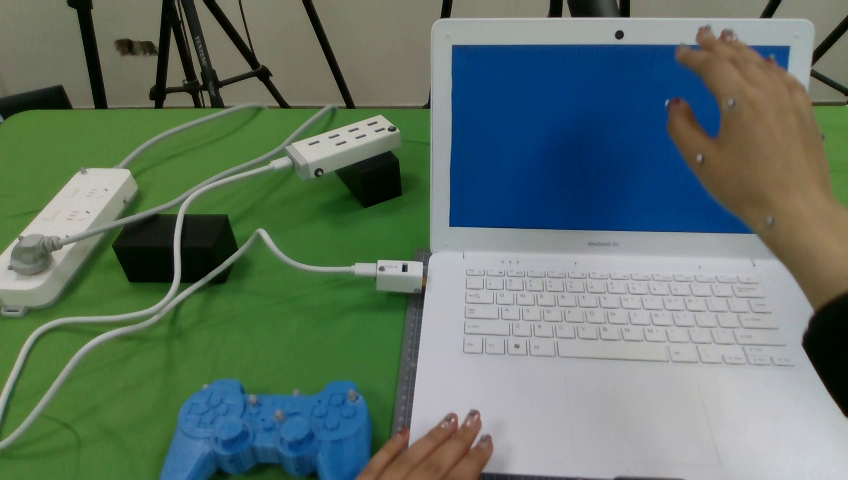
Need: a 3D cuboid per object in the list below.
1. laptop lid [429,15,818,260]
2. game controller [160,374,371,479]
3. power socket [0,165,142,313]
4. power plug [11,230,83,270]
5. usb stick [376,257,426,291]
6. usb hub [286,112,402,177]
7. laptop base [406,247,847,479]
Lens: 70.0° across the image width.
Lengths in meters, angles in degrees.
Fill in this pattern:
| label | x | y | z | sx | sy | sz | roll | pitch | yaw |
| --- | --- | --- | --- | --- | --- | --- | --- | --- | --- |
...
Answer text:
| label | x | y | z | sx | sy | sz | roll | pitch | yaw |
| --- | --- | --- | --- | --- | --- | --- | --- | --- | --- |
| laptop lid | 0.181 | -0.093 | 0.585 | 0.356 | 0.242 | 0.013 | 0 | 13 | 4 |
| game controller | -0.115 | 0.146 | 0.459 | 0.155 | 0.052 | 0.096 | 2 | 37 | 4 |
| power socket | -0.390 | -0.013 | 0.667 | 0.072 | 0.033 | 0.224 | 3 | 41 | 5 |
| power plug | -0.369 | 0.018 | 0.593 | 0.072 | 0.053 | 0.035 | 12 | 42 | 12 |
| usb stick | -0.017 | 0.033 | 0.583 | 0.059 | 0.027 | 0.021 | 5 | 40 | -4 |
| usb hub | -0.090 | -0.110 | 0.696 | 0.125 | 0.025 | 0.049 | -24 | 46 | -22 |
| laptop base | 0.171 | 0.097 | 0.523 | 0.354 | 0.023 | 0.233 | 2 | 44 | 4 |
